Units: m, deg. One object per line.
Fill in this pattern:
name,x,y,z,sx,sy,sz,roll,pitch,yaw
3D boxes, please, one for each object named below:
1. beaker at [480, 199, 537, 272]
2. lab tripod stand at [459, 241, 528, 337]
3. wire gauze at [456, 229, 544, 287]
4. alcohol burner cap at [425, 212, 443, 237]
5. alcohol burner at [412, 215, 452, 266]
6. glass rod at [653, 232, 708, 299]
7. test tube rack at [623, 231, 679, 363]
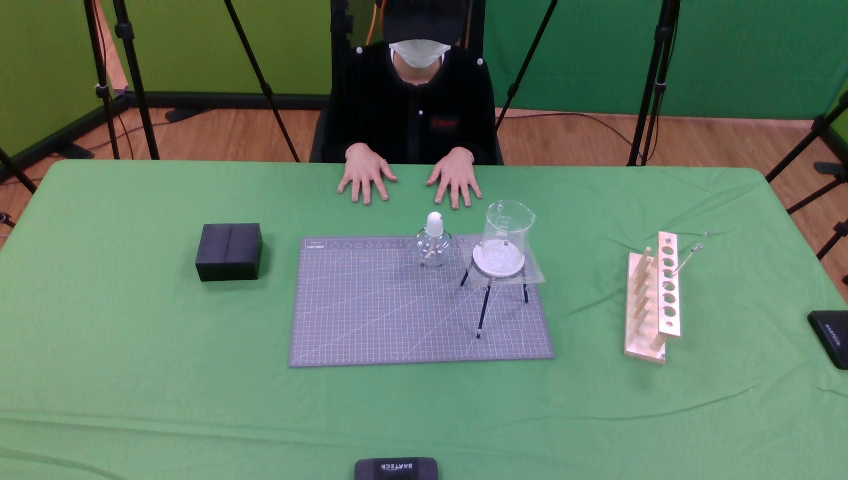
beaker,0.132,-0.004,0.973,0.084,0.101,0.073,-4,47,-9
lab tripod stand,0.122,0.075,1.054,0.148,0.132,0.147,3,44,-2
wire gauze,0.125,0.030,1.008,0.125,0.011,0.120,-3,48,-11
alcohol burner cap,0.019,-0.032,1.114,0.034,0.048,0.033,0,49,0
alcohol burner,0.017,-0.006,1.139,0.078,0.119,0.077,2,48,-2
glass rod,0.441,0.049,1.050,0.008,0.200,0.008,4,52,-5
test tube rack,0.410,0.094,1.096,0.066,0.085,0.241,13,46,9
